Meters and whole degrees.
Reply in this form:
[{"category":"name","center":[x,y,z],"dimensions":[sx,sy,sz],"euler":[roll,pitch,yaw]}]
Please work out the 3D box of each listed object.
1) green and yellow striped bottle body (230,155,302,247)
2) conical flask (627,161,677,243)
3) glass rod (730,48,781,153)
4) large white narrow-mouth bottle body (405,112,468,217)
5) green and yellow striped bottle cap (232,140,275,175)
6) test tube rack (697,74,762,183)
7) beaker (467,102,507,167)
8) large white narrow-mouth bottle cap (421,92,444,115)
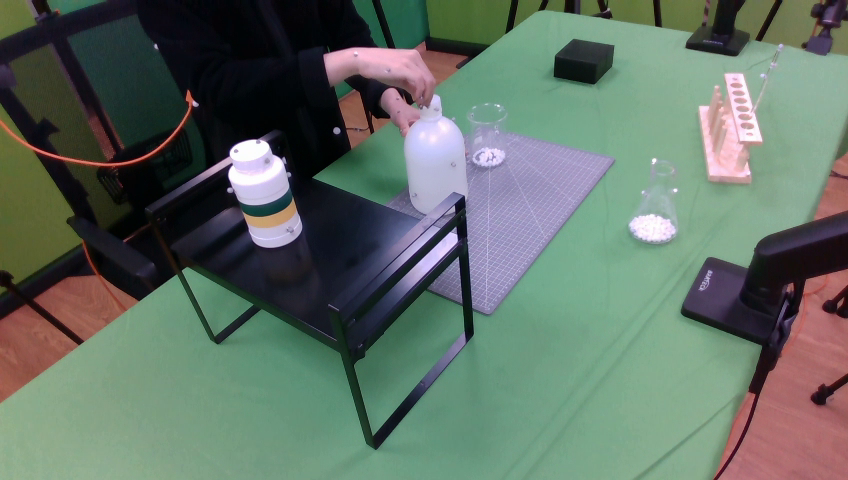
[{"category":"green and yellow striped bottle body","center":[-0.188,-0.055,0.714],"dimensions":[0.063,0.120,0.063],"euler":[-4,40,4]},{"category":"conical flask","center":[0.355,-0.061,0.921],"dimensions":[0.075,0.122,0.075],"euler":[-4,41,4]},{"category":"glass rod","center":[0.554,-0.228,1.015],"dimensions":[0.008,0.200,0.008],"euler":[1,44,-1]},{"category":"large white narrow-mouth bottle body","center":[0.020,-0.141,1.004],"dimensions":[0.102,0.195,0.101],"euler":[-3,38,3]},{"category":"green and yellow striped bottle cap","center":[-0.192,-0.093,0.680],"dimensions":[0.045,0.020,0.045],"euler":[-5,39,5]},{"category":"test tube rack","center":[0.547,-0.208,1.095],"dimensions":[0.066,0.085,0.242],"euler":[5,42,15]},{"category":"beaker","center":[0.121,-0.195,1.124],"dimensions":[0.084,0.100,0.073],"euler":[-34,48,-28]},{"category":"large white narrow-mouth bottle cap","center":[0.013,-0.213,0.947],"dimensions":[0.038,0.024,0.037],"euler":[-3,38,3]}]
